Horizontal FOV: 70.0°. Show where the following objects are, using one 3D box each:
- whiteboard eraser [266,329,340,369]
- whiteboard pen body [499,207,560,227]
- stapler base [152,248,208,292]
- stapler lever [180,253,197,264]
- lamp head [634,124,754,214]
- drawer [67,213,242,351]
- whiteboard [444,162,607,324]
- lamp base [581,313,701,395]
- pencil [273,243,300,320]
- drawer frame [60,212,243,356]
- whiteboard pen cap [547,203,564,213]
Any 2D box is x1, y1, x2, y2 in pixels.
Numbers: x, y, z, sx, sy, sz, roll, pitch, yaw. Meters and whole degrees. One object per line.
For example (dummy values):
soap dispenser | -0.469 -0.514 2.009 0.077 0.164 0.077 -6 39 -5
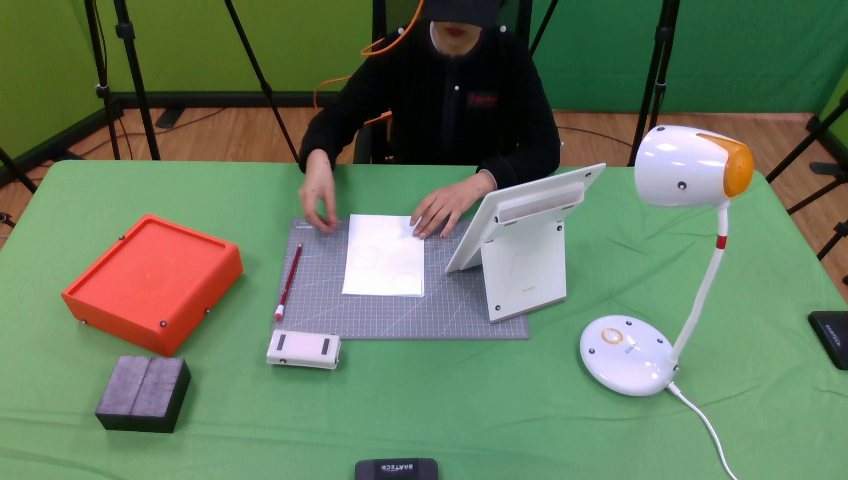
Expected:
whiteboard eraser | -0.198 0.181 0.994 0.113 0.042 0.055 5 45 1
whiteboard pen body | 0.221 -0.051 1.260 0.141 0.017 0.017 -15 49 -16
stapler base | -0.443 0.049 1.100 0.130 0.024 0.041 31 36 30
stapler lever | -0.441 0.026 1.086 0.117 0.040 0.027 29 36 31
lamp head | 0.351 -0.089 0.776 0.112 0.113 0.122 -30 30 -28
drawer | -0.461 0.068 1.057 0.194 0.073 0.211 19 48 13
whiteboard | 0.186 0.025 1.029 0.217 0.306 0.143 -15 68 -18
lamp base | 0.361 0.144 0.973 0.178 0.181 0.160 34 53 23
pencil | -0.249 0.071 1.115 0.012 0.012 0.193 5 43 1
drawer frame | -0.462 0.070 1.053 0.201 0.083 0.213 18 48 12
whiteboard pen cap | 0.277 -0.066 1.275 0.033 0.018 0.018 -18 50 -15
